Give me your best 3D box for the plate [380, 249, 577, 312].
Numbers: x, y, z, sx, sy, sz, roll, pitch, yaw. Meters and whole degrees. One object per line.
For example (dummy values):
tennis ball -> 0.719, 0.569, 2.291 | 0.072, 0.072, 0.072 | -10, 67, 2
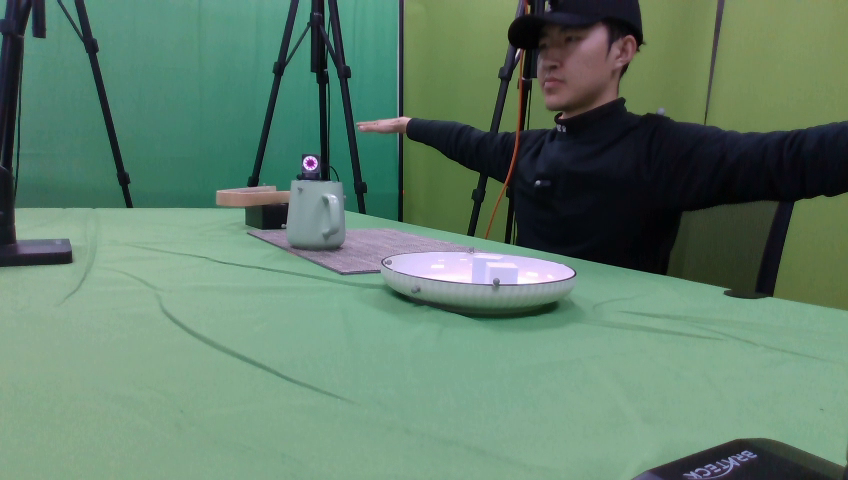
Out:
plate -> 0.056, 0.042, 0.646 | 0.209, 0.038, 0.209 | 2, 7, 0

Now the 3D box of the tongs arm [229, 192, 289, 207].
tongs arm -> -0.284, -0.092, 1.283 | 0.028, 0.028, 0.388 | 11, 9, 16

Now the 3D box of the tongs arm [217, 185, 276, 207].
tongs arm -> -0.361, -0.098, 1.295 | 0.051, 0.026, 0.385 | 6, 7, 5

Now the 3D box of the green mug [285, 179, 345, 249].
green mug -> -0.161, -0.040, 0.936 | 0.093, 0.105, 0.124 | -2, 8, -32
